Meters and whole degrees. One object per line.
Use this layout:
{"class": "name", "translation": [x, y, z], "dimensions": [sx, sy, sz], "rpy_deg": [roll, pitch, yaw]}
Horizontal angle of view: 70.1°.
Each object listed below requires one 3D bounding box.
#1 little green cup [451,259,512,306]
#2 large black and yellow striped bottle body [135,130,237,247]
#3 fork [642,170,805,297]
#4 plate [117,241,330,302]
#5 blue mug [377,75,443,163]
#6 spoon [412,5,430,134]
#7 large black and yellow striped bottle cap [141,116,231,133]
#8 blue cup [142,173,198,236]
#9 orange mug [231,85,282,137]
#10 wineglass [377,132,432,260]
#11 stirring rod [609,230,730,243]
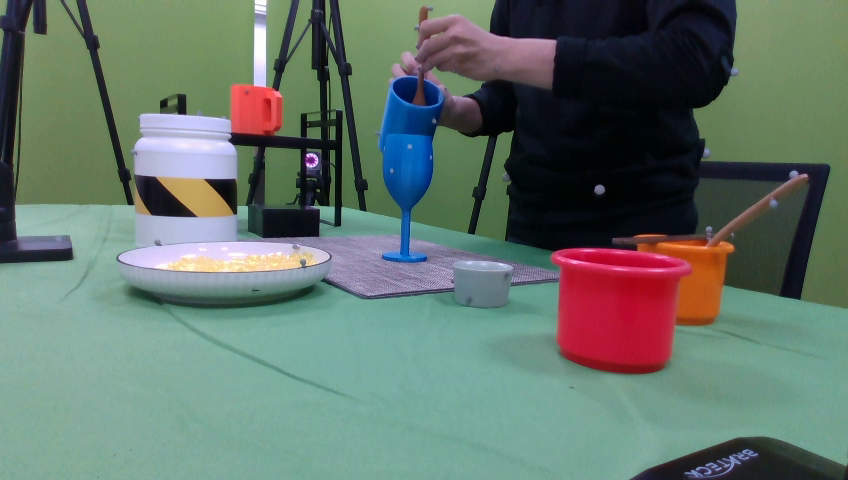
{"class": "little green cup", "translation": [0.057, 0.043, 0.611], "dimensions": [0.061, 0.038, 0.061], "rpy_deg": [3, 8, 0]}
{"class": "large black and yellow striped bottle body", "translation": [-0.327, -0.074, 0.838], "dimensions": [0.131, 0.184, 0.130], "rpy_deg": [2, 7, 0]}
{"class": "fork", "translation": [0.261, 0.004, 0.545], "dimensions": [0.028, 0.018, 0.207], "rpy_deg": [6, -37, -15]}
{"class": "plate", "translation": [-0.203, 0.031, 0.629], "dimensions": [0.209, 0.038, 0.209], "rpy_deg": [3, 7, 0]}
{"class": "blue mug", "translation": [-0.025, -0.194, 0.924], "dimensions": [0.082, 0.106, 0.116], "rpy_deg": [4, 46, -14]}
{"class": "spoon", "translation": [-0.007, -0.237, 0.875], "dimensions": [0.041, 0.193, 0.022], "rpy_deg": [14, 24, 25]}
{"class": "large black and yellow striped bottle cap", "translation": [-0.324, -0.157, 0.826], "dimensions": [0.115, 0.019, 0.115], "rpy_deg": [1, 7, 0]}
{"class": "blue cup", "translation": [-0.425, -0.060, 1.014], "dimensions": [0.093, 0.100, 0.092], "rpy_deg": [4, 9, 0]}
{"class": "orange mug", "translation": [-0.335, -0.261, 1.225], "dimensions": [0.125, 0.100, 0.084], "rpy_deg": [2, 6, 35]}
{"class": "wineglass", "translation": [-0.026, -0.062, 0.841], "dimensions": [0.074, 0.172, 0.073], "rpy_deg": [2, 8, 0]}
{"class": "stirring rod", "translation": [0.241, -0.004, 0.582], "dimensions": [0.177, 0.006, 0.014], "rpy_deg": [-4, 10, -33]}
